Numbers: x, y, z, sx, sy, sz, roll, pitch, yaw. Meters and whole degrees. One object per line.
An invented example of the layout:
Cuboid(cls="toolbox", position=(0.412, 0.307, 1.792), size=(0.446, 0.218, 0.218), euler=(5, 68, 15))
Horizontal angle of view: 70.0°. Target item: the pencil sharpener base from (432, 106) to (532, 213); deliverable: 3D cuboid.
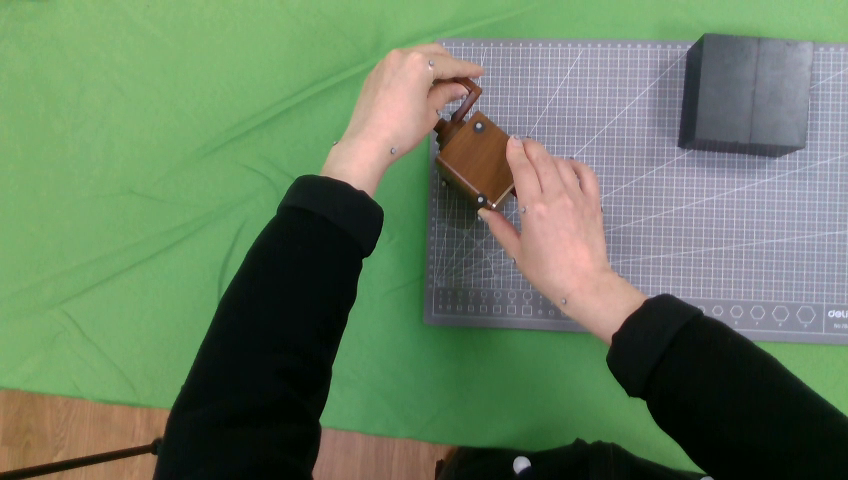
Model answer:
Cuboid(cls="pencil sharpener base", position=(0.053, -0.074, 0.579), size=(0.076, 0.107, 0.061), euler=(42, 92, 5))

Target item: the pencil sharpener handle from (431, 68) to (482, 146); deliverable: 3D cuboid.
Cuboid(cls="pencil sharpener handle", position=(0.023, -0.121, 0.550), size=(0.030, 0.036, 0.068), euler=(42, 106, 5))

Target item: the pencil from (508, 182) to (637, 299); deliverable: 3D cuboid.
Cuboid(cls="pencil", position=(0.119, -0.014, 0.551), size=(0.194, 0.012, 0.012), euler=(43, 92, 1))
